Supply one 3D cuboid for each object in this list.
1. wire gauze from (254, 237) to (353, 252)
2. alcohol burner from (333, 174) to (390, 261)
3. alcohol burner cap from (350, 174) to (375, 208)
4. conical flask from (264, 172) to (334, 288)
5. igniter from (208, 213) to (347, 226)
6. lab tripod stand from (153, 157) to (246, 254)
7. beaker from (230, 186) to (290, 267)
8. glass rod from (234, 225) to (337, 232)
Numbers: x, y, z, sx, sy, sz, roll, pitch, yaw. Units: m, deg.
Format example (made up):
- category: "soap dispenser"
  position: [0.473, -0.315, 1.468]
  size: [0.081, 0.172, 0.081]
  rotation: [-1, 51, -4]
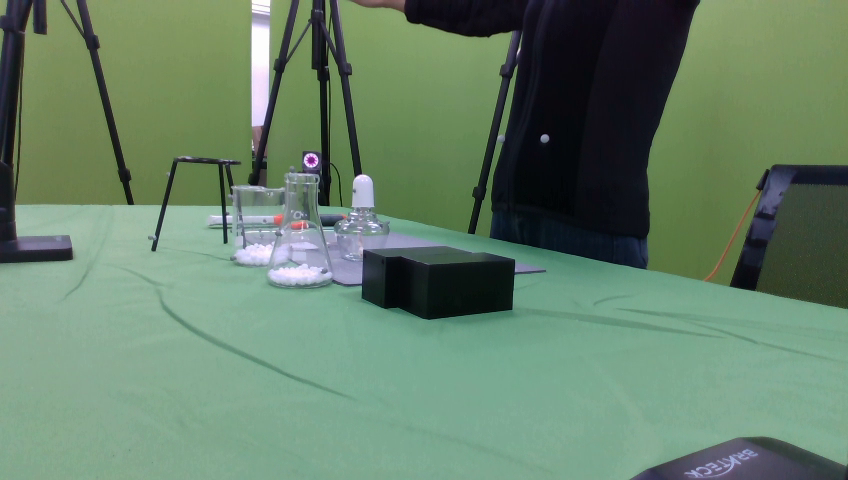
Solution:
- category: "wire gauze"
  position: [-0.188, 0.004, 0.940]
  size: [0.122, 0.011, 0.124]
  rotation: [-2, 6, -34]
- category: "alcohol burner"
  position: [-0.085, -0.031, 0.832]
  size: [0.078, 0.119, 0.078]
  rotation: [3, 5, 0]
- category: "alcohol burner cap"
  position: [-0.085, -0.067, 0.829]
  size: [0.034, 0.048, 0.034]
  rotation: [0, 2, 0]
- category: "conical flask"
  position: [-0.136, -0.013, 0.660]
  size: [0.075, 0.122, 0.075]
  rotation: [2, 7, 0]
- category: "igniter"
  position: [-0.283, -0.041, 1.200]
  size: [0.278, 0.025, 0.057]
  rotation: [-2, -2, -34]
- category: "lab tripod stand"
  position: [-0.305, -0.051, 0.865]
  size: [0.148, 0.131, 0.148]
  rotation: [4, 7, 0]
- category: "beaker"
  position: [-0.209, -0.019, 0.778]
  size: [0.074, 0.100, 0.084]
  rotation: [3, 7, 4]
- category: "glass rod"
  position: [-0.256, -0.022, 1.136]
  size: [0.201, 0.008, 0.008]
  rotation: [-3, 9, -33]
